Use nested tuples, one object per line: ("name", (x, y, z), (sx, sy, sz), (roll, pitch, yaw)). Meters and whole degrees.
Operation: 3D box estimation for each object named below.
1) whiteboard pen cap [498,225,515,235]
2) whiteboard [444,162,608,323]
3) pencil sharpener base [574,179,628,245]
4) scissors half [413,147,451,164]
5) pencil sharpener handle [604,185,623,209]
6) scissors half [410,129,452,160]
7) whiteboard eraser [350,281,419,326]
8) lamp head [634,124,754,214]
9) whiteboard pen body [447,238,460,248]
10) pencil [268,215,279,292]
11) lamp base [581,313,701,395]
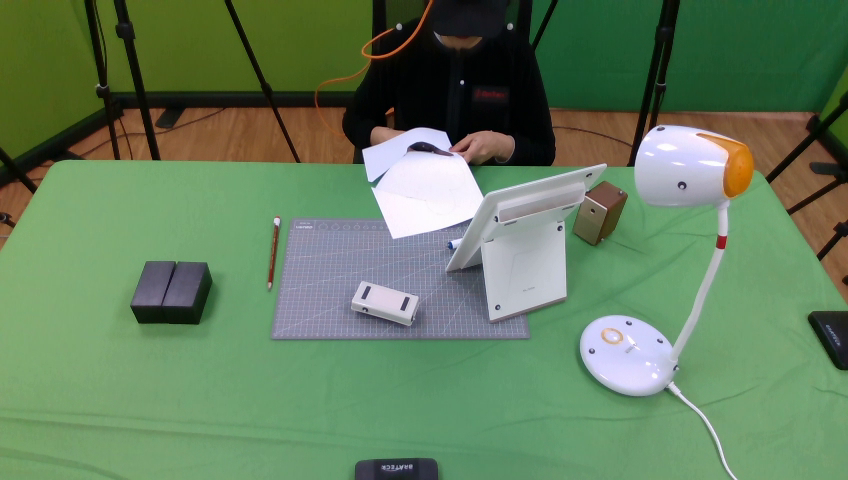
("whiteboard pen cap", (0.166, -0.019, 1.222), (0.033, 0.018, 0.018), (-14, 49, -19))
("whiteboard", (0.186, 0.025, 1.029), (0.217, 0.306, 0.143), (-14, 68, -18))
("pencil sharpener base", (0.355, -0.057, 1.217), (0.076, 0.107, 0.061), (-33, 56, -31))
("scissors half", (0.018, -0.194, 1.376), (0.013, 0.040, 0.174), (-19, 14, -24))
("pencil sharpener handle", (0.390, -0.091, 1.235), (0.030, 0.068, 0.036), (-33, 69, -31))
("scissors half", (0.015, -0.214, 1.368), (0.013, 0.040, 0.174), (-24, 40, -21))
("whiteboard eraser", (-0.069, 0.113, 1.065), (0.112, 0.042, 0.055), (14, 46, 9))
("lamp head", (0.351, -0.089, 0.775), (0.112, 0.113, 0.122), (-30, 30, -28))
("whiteboard pen body", (0.112, -0.006, 1.204), (0.141, 0.017, 0.017), (-14, 49, -18))
("pencil", (-0.290, 0.022, 1.164), (0.012, 0.012, 0.192), (-2, 48, -6))
("lamp base", (0.361, 0.144, 0.972), (0.178, 0.181, 0.160), (34, 53, 23))
